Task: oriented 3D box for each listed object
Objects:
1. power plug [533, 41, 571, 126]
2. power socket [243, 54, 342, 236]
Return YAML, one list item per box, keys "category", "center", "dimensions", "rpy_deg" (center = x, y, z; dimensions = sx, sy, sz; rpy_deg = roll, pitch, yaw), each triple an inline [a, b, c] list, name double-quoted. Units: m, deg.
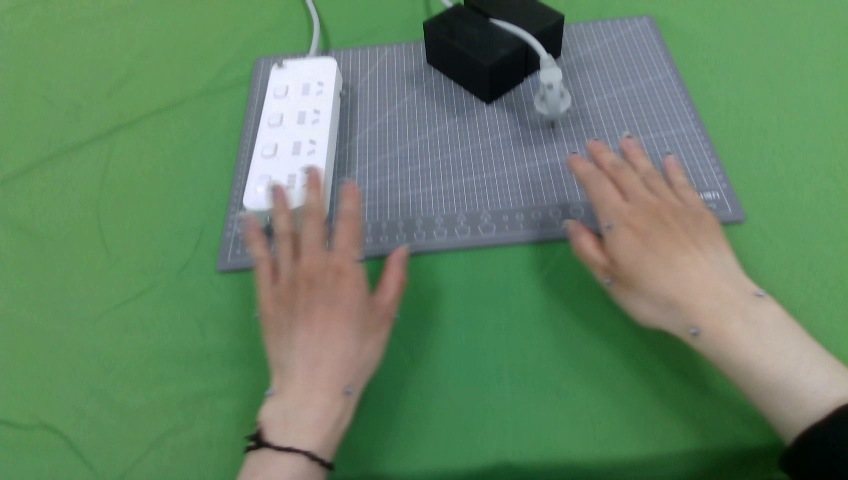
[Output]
- category: "power plug"
  center: [0.124, -0.147, 0.579]
  dimensions: [0.035, 0.053, 0.072]
  rpy_deg: [6, 61, 14]
- category: "power socket"
  center: [-0.123, -0.103, 0.589]
  dimensions: [0.072, 0.033, 0.224]
  rpy_deg: [-3, 54, 4]
